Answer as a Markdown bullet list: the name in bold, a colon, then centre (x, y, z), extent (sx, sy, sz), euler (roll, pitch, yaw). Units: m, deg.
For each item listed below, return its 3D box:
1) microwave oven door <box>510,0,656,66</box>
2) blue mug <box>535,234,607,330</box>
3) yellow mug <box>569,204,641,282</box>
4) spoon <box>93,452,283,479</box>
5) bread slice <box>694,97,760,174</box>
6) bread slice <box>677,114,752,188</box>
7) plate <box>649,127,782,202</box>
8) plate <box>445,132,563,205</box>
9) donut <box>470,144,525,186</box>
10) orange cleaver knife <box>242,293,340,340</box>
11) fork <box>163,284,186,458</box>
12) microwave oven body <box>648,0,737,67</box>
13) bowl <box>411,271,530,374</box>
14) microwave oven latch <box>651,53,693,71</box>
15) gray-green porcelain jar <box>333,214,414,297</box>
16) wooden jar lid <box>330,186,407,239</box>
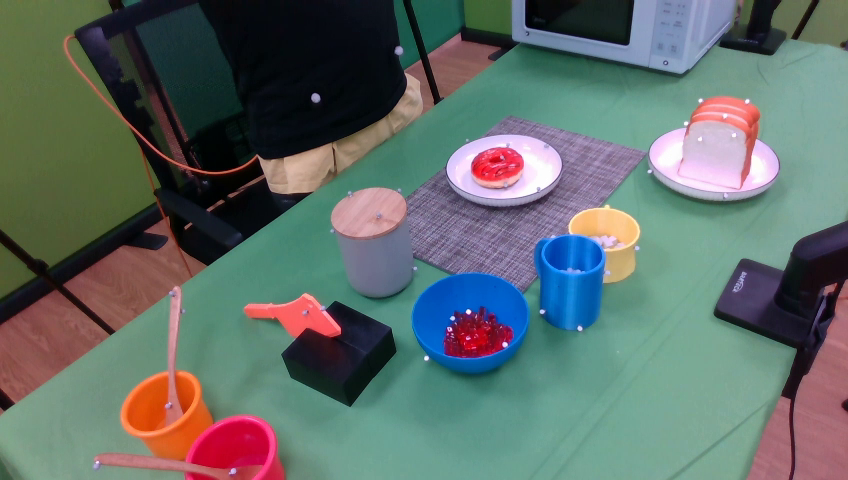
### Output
- **microwave oven door**: centre (0.350, -0.539, 1.349), extent (0.353, 0.245, 0.039), euler (24, 50, 31)
- **blue mug**: centre (0.191, 0.048, 0.824), extent (0.082, 0.106, 0.115), euler (-26, 44, -20)
- **yellow mug**: centre (0.268, -0.005, 0.904), extent (0.099, 0.064, 0.130), euler (7, 41, 15)
- **spoon**: centre (-0.240, 0.239, 0.632), extent (0.195, 0.021, 0.041), euler (26, 34, -32)
- **bread slice**: centre (0.497, -0.173, 1.004), extent (0.106, 0.135, 0.018), euler (23, 51, 26)
- **bread slice**: centre (0.467, -0.144, 0.976), extent (0.104, 0.132, 0.019), euler (18, 55, 30)
- **plate**: centre (0.493, -0.127, 1.036), extent (0.207, 0.039, 0.206), euler (-4, 41, 4)
- **plate**: centre (0.142, -0.123, 1.076), extent (0.209, 0.038, 0.208), euler (-4, 41, 4)
- **donut**: centre (0.129, -0.134, 1.073), extent (0.099, 0.048, 0.098), euler (-6, 41, 6)
- **orange cleaver knife**: centre (-0.186, 0.107, 0.827), extent (0.210, 0.077, 0.012), euler (-9, 29, 48)
- **fork**: centre (-0.302, 0.157, 0.733), extent (0.028, 0.019, 0.207), euler (-3, 84, 16)
- **microwave oven body**: centre (0.475, -0.602, 1.411), extent (0.438, 0.261, 0.327), euler (23, 50, 32)
- **bowl**: centre (0.061, 0.120, 0.780), extent (0.151, 0.077, 0.150), euler (-4, 40, 4)
- **microwave oven latch**: centre (0.532, -0.386, 1.301), extent (0.078, 0.029, 0.030), euler (27, 52, 34)
- **gray-green porcelain jar**: centre (-0.071, 0.012, 0.887), extent (0.106, 0.127, 0.105), euler (-4, 41, 4)
- **wooden jar lid**: centre (-0.077, -0.035, 0.847), extent (0.108, 0.021, 0.108), euler (-5, 41, 5)
